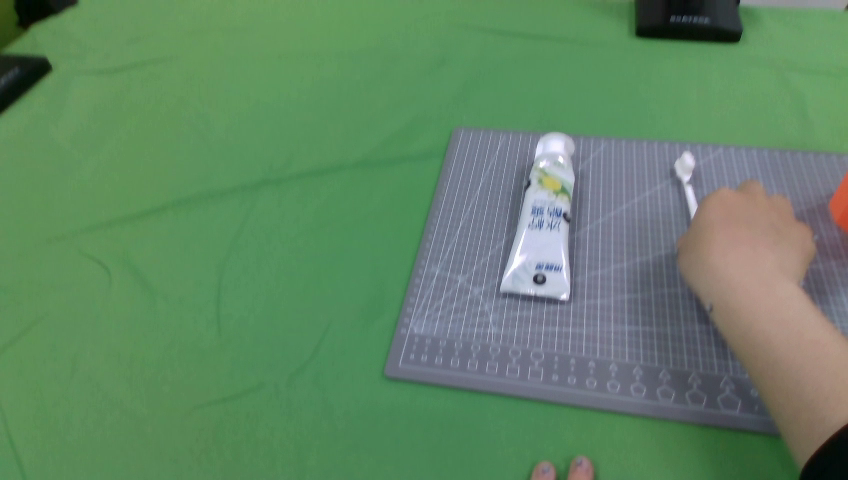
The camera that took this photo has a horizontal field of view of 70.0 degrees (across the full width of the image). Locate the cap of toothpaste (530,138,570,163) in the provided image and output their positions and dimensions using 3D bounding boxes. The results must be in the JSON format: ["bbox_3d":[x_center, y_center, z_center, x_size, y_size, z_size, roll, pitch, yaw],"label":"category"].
[{"bbox_3d":[0.117,-0.079,0.565,0.037,0.038,0.011,9,54,13],"label":"cap of toothpaste"}]

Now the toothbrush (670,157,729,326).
[{"bbox_3d":[0.228,-0.006,0.503,0.014,0.017,0.180,15,48,-9],"label":"toothbrush"}]

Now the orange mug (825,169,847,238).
[{"bbox_3d":[0.372,-0.040,0.466,0.083,0.102,0.126,29,51,29],"label":"orange mug"}]

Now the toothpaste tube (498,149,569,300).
[{"bbox_3d":[0.100,-0.020,0.519,0.055,0.035,0.164,3,51,14],"label":"toothpaste tube"}]
